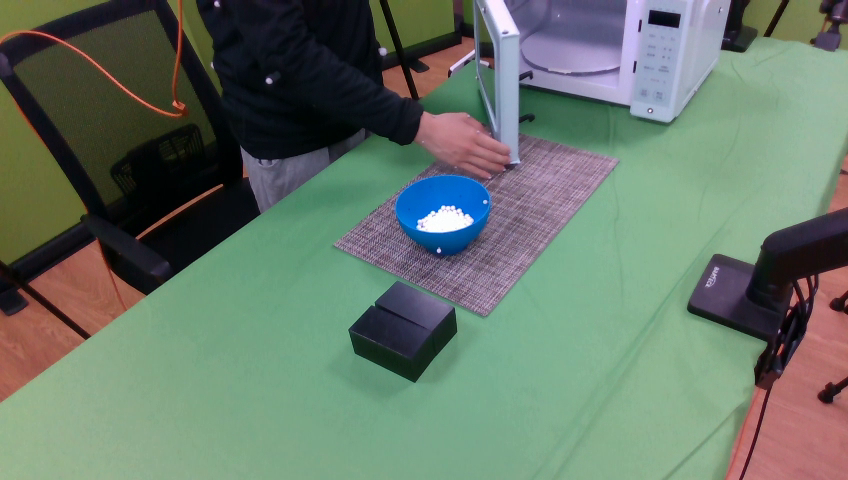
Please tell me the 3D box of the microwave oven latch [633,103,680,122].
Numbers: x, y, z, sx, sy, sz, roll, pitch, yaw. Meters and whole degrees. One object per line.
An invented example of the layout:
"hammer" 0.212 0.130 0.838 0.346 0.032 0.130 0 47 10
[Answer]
"microwave oven latch" 0.443 -0.249 1.157 0.078 0.029 0.030 21 48 30

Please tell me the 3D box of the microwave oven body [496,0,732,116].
"microwave oven body" 0.377 -0.462 1.267 0.438 0.261 0.327 21 48 30

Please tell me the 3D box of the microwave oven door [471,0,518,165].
"microwave oven door" 0.130 -0.341 1.153 0.039 0.245 0.353 -7 40 1

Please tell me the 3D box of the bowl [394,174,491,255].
"bowl" 0.032 -0.030 0.949 0.151 0.077 0.150 -4 40 4
